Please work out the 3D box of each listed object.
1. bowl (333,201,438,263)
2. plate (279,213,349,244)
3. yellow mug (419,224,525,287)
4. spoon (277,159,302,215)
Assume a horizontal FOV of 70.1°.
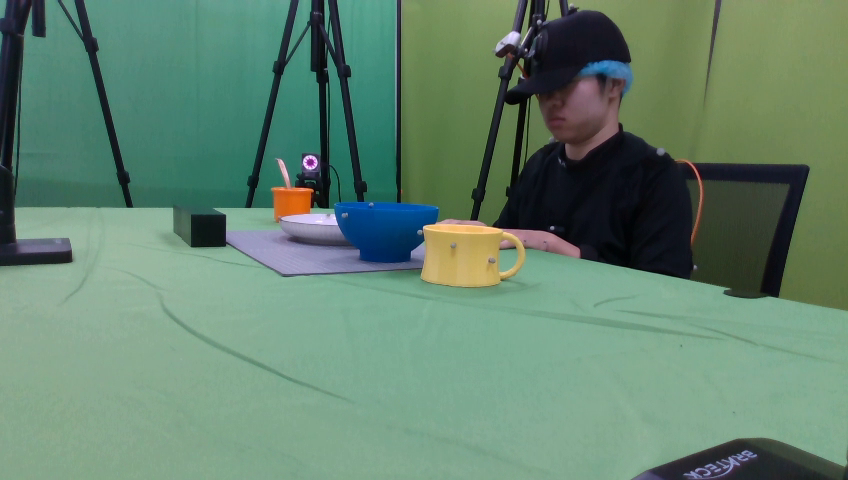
[{"bbox_3d":[-0.056,-0.011,0.866,0.151,0.077,0.151,3,8,0],"label":"bowl"},{"bbox_3d":[-0.147,-0.020,1.060,0.209,0.038,0.209,3,7,0],"label":"plate"},{"bbox_3d":[0.060,0.018,0.746,0.131,0.064,0.100,3,7,-7],"label":"yellow mug"},{"bbox_3d":[-0.308,-0.117,1.368,0.042,0.193,0.021,3,-39,-32],"label":"spoon"}]
